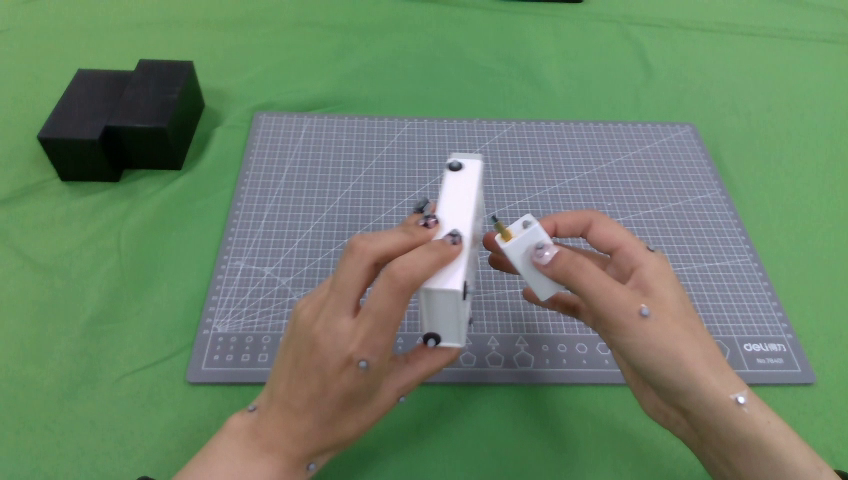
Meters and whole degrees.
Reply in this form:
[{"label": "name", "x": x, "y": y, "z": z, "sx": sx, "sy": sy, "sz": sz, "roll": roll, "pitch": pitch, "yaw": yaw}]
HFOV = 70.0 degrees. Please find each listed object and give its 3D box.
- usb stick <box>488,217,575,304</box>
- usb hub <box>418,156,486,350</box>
[{"label": "usb stick", "x": 0.060, "y": 0.007, "z": 0.351, "sx": 0.027, "sy": 0.059, "sz": 0.021, "roll": -39, "pitch": 20, "yaw": 7}, {"label": "usb hub", "x": 0.020, "y": 0.003, "z": 0.366, "sx": 0.025, "sy": 0.050, "sz": 0.124, "roll": 3, "pitch": 42, "yaw": 10}]
